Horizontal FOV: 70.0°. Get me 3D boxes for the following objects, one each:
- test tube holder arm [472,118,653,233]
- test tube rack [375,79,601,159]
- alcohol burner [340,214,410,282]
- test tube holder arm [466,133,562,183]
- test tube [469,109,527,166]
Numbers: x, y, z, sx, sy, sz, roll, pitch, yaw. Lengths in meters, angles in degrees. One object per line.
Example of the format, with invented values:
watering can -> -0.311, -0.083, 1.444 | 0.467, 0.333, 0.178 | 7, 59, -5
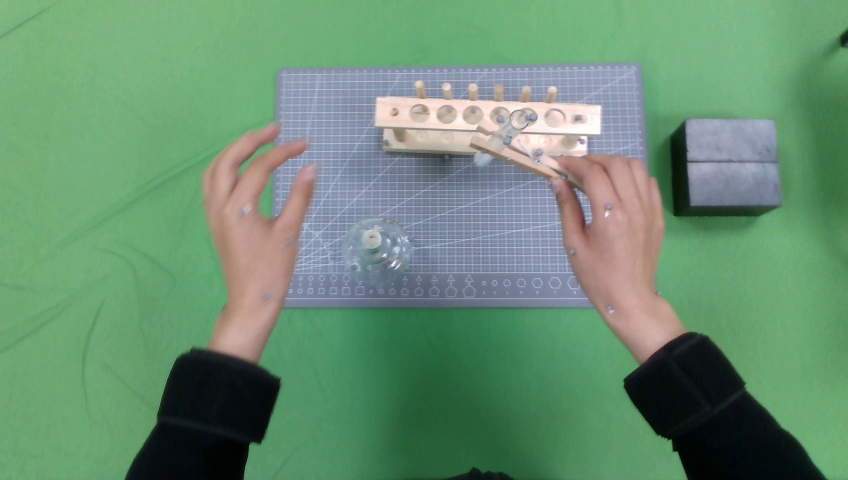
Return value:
test tube holder arm -> 0.120, -0.054, 0.521 | 0.179, 0.015, 0.013 | 29, 86, -5
test tube rack -> 0.072, -0.143, 0.695 | 0.242, 0.085, 0.066 | 3, 80, 2
alcohol burner -> -0.055, 0.005, 0.659 | 0.078, 0.119, 0.077 | 0, 78, 1
test tube holder arm -> 0.078, -0.069, 0.517 | 0.088, 0.015, 0.010 | 21, 86, -5
test tube -> 0.059, -0.083, 0.515 | 0.017, 0.150, 0.017 | 0, 86, -7
